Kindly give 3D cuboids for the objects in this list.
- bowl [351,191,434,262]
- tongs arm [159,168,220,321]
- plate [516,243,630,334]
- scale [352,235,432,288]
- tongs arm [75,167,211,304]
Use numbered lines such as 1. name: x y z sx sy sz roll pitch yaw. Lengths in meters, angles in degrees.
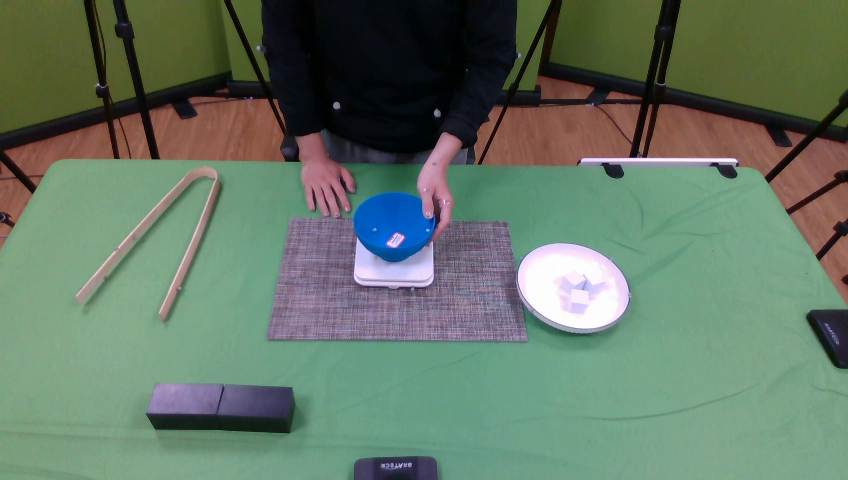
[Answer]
1. bowl: -0.058 -0.013 1.120 0.151 0.077 0.150 1 46 -1
2. tongs arm: -0.446 -0.006 1.164 0.028 0.028 0.385 1 46 0
3. plate: 0.272 0.092 1.120 0.208 0.039 0.206 2 46 -2
4. scale: -0.060 0.010 1.171 0.149 0.032 0.199 2 46 -3
5. tongs arm: -0.526 -0.021 1.167 0.051 0.026 0.383 13 46 7
